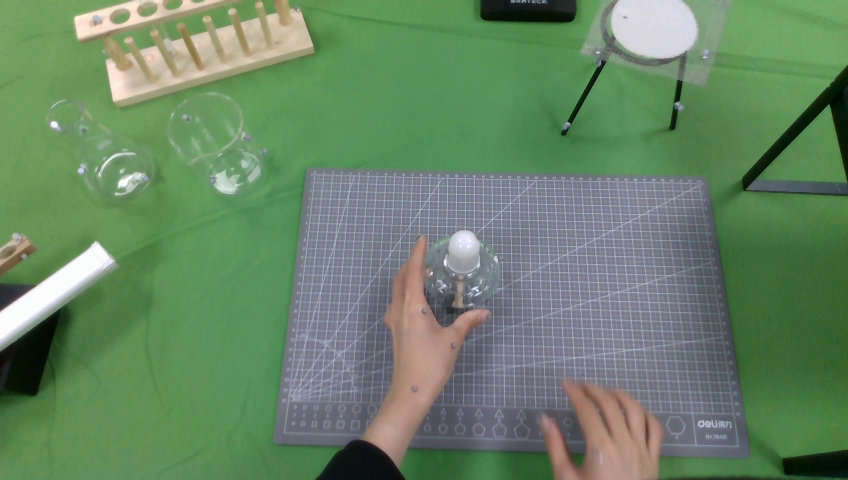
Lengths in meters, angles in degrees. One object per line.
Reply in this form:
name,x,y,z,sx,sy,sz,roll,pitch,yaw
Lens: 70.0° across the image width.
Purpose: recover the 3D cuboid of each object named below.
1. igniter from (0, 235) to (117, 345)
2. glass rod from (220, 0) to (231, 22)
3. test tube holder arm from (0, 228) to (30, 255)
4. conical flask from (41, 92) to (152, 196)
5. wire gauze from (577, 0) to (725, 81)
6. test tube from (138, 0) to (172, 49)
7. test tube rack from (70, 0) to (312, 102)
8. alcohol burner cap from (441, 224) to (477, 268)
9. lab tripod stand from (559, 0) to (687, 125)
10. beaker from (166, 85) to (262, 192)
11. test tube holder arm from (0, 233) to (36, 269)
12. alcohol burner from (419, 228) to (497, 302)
igniter,-0.412,0.093,0.554,0.276,0.025,0.057,-41,76,-18
glass rod,-0.240,-0.302,0.657,0.008,0.201,0.008,-3,62,6
test tube holder arm,-0.456,0.051,0.573,0.178,0.015,0.013,-42,74,-15
conical flask,-0.344,-0.103,0.630,0.075,0.122,0.075,0,68,1
wire gauze,0.228,-0.220,0.596,0.121,0.011,0.124,22,71,7
test tube,-0.307,-0.269,0.661,0.017,0.151,0.017,1,61,-1
test tube rack,-0.263,-0.245,0.706,0.242,0.086,0.066,-18,69,-7
alcohol burner cap,0.033,0.003,0.550,0.034,0.048,0.033,0,67,0
lab tripod stand,0.221,-0.193,0.658,0.148,0.132,0.147,1,67,-1
beaker,-0.218,-0.099,0.641,0.074,0.101,0.083,16,69,7
test tube holder arm,-0.419,0.026,0.584,0.088,0.015,0.010,-40,74,-15
alcohol burner,0.034,0.018,0.583,0.078,0.120,0.077,1,67,-1
